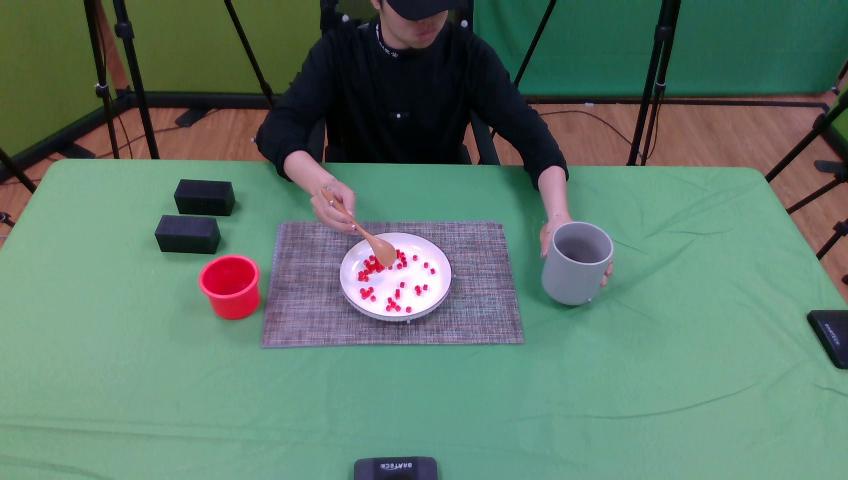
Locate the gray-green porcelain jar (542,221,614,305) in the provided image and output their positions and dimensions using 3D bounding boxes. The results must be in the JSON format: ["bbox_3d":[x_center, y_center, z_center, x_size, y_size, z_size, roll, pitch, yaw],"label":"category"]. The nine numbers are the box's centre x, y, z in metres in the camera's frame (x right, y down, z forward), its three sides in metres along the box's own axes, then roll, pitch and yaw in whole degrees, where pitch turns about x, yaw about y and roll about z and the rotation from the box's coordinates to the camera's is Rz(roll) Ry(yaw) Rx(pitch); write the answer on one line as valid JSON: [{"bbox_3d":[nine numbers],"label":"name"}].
[{"bbox_3d":[0.270,0.046,1.082,0.106,0.127,0.105,1,47,-1],"label":"gray-green porcelain jar"}]

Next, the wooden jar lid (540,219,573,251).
[{"bbox_3d":[0.286,0.001,1.219,0.108,0.021,0.107,1,46,-1],"label":"wooden jar lid"}]

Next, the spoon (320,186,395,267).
[{"bbox_3d":[-0.118,-0.022,1.071,0.194,0.021,0.041,45,68,-19],"label":"spoon"}]

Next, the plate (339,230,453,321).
[{"bbox_3d":[-0.051,0.067,1.111,0.208,0.039,0.206,2,46,-2],"label":"plate"}]
